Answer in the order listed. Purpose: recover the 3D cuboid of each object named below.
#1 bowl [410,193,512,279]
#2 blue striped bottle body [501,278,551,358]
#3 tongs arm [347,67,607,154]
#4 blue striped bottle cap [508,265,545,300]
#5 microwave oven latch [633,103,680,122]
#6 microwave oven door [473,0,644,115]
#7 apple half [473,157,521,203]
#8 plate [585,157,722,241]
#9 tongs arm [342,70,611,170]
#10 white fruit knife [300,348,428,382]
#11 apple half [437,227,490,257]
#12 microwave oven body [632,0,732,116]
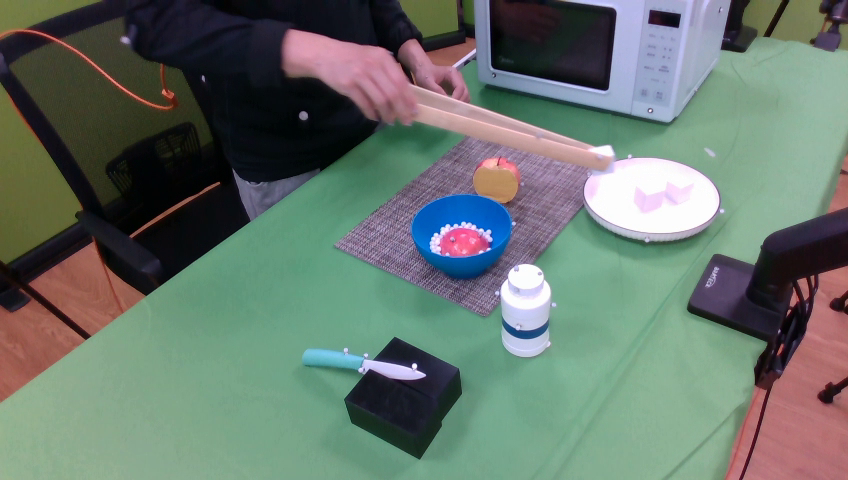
[{"bbox_3d":[0.058,0.005,0.905,0.151,0.077,0.150,-4,40,4],"label":"bowl"},{"bbox_3d":[0.129,0.089,0.769,0.063,0.121,0.063,-4,40,4],"label":"blue striped bottle body"},{"bbox_3d":[0.079,-0.178,0.855,0.389,0.028,0.028,15,44,-9],"label":"tongs arm"},{"bbox_3d":[0.125,0.051,0.735,0.044,0.021,0.044,-6,38,5],"label":"blue striped bottle cap"},{"bbox_3d":[0.444,-0.249,1.157,0.078,0.029,0.030,21,48,30],"label":"microwave oven latch"},{"bbox_3d":[0.257,-0.396,1.199,0.353,0.245,0.039,21,48,29],"label":"microwave oven door"},{"bbox_3d":[0.128,-0.106,1.030,0.080,0.075,0.053,4,38,19],"label":"apple half"},{"bbox_3d":[0.367,-0.063,0.979,0.207,0.039,0.206,-4,40,4],"label":"plate"},{"bbox_3d":[0.078,-0.163,0.838,0.386,0.026,0.050,12,41,-13],"label":"tongs arm"},{"bbox_3d":[-0.080,0.154,0.748,0.206,0.027,0.016,1,20,35],"label":"white fruit knife"},{"bbox_3d":[0.056,0.002,0.902,0.081,0.033,0.081,-3,41,3],"label":"apple half"},{"bbox_3d":[0.377,-0.462,1.267,0.438,0.261,0.327,21,48,30],"label":"microwave oven body"}]
